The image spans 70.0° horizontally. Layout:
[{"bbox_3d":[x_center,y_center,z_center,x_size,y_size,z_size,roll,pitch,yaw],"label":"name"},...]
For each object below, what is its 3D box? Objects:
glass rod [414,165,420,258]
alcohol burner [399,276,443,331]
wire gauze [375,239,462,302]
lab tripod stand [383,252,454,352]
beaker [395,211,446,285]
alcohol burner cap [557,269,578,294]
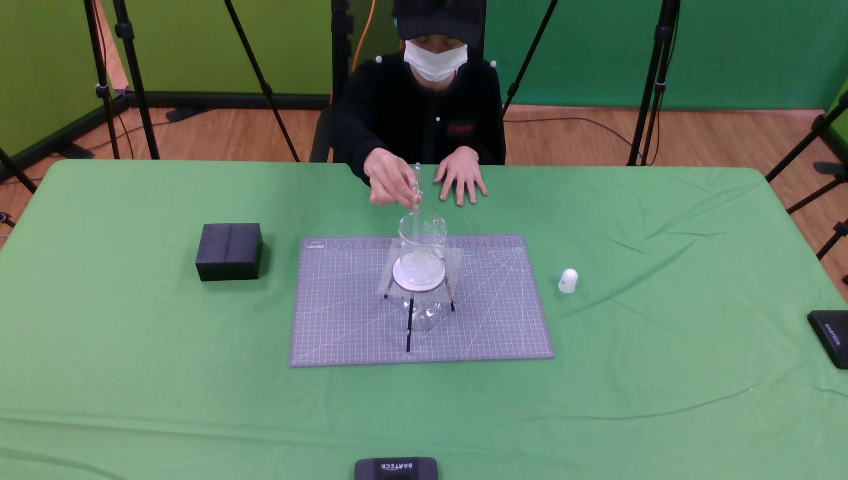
[{"bbox_3d":[-0.012,-0.036,0.908,0.008,0.201,0.008,1,49,-1],"label":"glass rod"},{"bbox_3d":[-0.004,0.101,1.033,0.078,0.119,0.077,3,48,-3],"label":"alcohol burner"},{"bbox_3d":[-0.006,0.049,0.977,0.121,0.011,0.124,10,44,5],"label":"wire gauze"},{"bbox_3d":[-0.016,0.094,1.025,0.148,0.132,0.147,1,46,-1],"label":"lab tripod stand"},{"bbox_3d":[-0.002,0.016,0.941,0.083,0.101,0.074,36,55,29],"label":"beaker"},{"bbox_3d":[0.270,0.075,1.135,0.034,0.048,0.033,3,46,-3],"label":"alcohol burner cap"}]
